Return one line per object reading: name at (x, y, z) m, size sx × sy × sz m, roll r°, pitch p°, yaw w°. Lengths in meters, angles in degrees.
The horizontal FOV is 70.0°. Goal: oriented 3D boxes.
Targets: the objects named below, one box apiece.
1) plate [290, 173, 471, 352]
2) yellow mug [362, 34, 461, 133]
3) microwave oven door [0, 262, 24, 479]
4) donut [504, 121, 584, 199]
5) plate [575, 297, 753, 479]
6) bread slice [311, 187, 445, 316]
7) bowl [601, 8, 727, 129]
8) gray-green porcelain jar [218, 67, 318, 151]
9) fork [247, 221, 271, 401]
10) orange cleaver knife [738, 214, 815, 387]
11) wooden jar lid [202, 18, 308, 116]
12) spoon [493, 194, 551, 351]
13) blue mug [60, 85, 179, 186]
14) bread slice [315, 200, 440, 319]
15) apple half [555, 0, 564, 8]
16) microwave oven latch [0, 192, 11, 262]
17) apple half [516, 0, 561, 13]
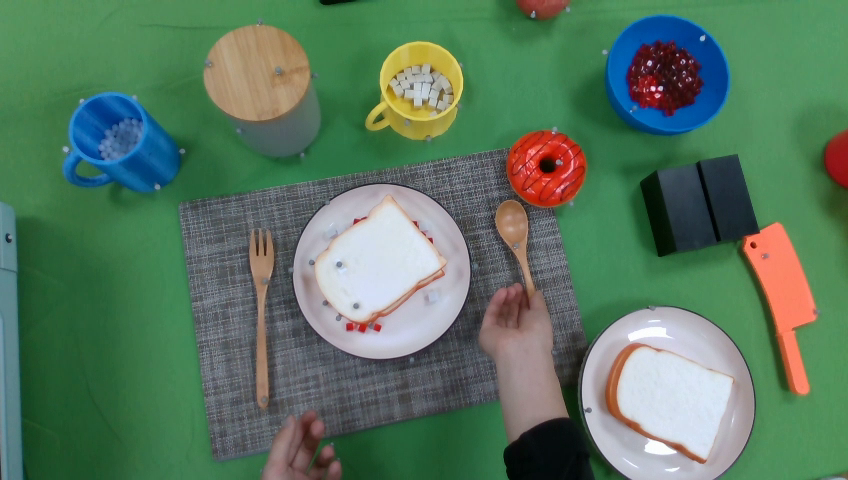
plate at (-0.050, 0.026, 0.712) m, size 0.208 × 0.039 × 0.207 m, roll 1°, pitch 80°, yaw -4°
yellow mug at (-0.020, -0.181, 0.739) m, size 0.131 × 0.064 × 0.099 m, roll -34°, pitch 84°, yaw -8°
microwave oven door at (-0.447, 0.181, 0.541) m, size 0.039 × 0.244 × 0.354 m, roll -8°, pitch 80°, yaw -5°
donut at (0.146, -0.098, 0.742) m, size 0.099 × 0.048 × 0.098 m, roll 1°, pitch 81°, yaw -4°
plate at (0.277, 0.172, 0.712) m, size 0.209 × 0.038 × 0.208 m, roll 1°, pitch 80°, yaw -3°
bread slice at (-0.058, 0.021, 0.687) m, size 0.134 × 0.018 × 0.106 m, roll -41°, pitch 82°, yaw -11°
bowl at (0.286, -0.200, 0.756) m, size 0.151 × 0.077 × 0.151 m, roll 1°, pitch 81°, yaw -3°
gray-green porcelain jar at (-0.178, -0.166, 0.695) m, size 0.106 × 0.127 × 0.105 m, roll 1°, pitch 80°, yaw -3°
fork at (-0.190, 0.080, 0.702) m, size 0.028 × 0.018 × 0.206 m, roll -2°, pitch 79°, yaw -11°
orange cleaver knife at (0.447, 0.072, 0.750) m, size 0.077 × 0.012 × 0.210 m, roll -9°, pitch 80°, yaw -12°
wooden jar lid at (-0.175, -0.178, 0.634) m, size 0.108 × 0.021 × 0.108 m, roll 1°, pitch 78°, yaw -3°
spoon at (0.121, 0.037, 0.724) m, size 0.042 × 0.021 × 0.192 m, roll -8°, pitch 75°, yaw -26°
blue mug at (-0.349, -0.106, 0.684) m, size 0.116 × 0.106 × 0.082 m, roll -36°, pitch 84°, yaw -9°
bread slice at (-0.060, 0.029, 0.716) m, size 0.131 × 0.019 × 0.104 m, roll -38°, pitch 85°, yaw -13°
apple half at (0.160, -0.341, 0.774) m, size 0.080 × 0.075 × 0.053 m, roll 45°, pitch 75°, yaw 9°
microwave oven latch at (-0.481, -0.015, 0.675) m, size 0.030 × 0.029 × 0.079 m, roll -6°, pitch 81°, yaw -5°
apple half at (0.133, -0.314, 0.766) m, size 0.081 × 0.081 × 0.033 m, roll 45°, pitch 76°, yaw 5°
